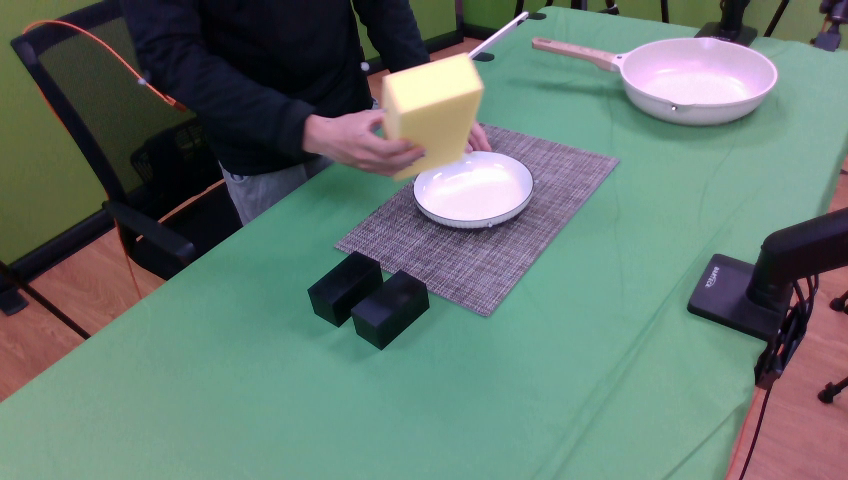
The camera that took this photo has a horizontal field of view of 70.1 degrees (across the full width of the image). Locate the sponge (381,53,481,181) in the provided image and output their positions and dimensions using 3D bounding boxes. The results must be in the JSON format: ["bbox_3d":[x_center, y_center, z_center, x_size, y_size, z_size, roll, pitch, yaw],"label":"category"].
[{"bbox_3d":[0.003,-0.169,0.876,0.118,0.207,0.060,-19,74,-12],"label":"sponge"}]

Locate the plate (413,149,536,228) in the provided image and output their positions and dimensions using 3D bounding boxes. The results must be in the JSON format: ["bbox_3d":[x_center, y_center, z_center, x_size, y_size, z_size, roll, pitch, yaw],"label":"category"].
[{"bbox_3d":[0.086,-0.085,1.038,0.207,0.039,0.206,-4,40,4],"label":"plate"}]

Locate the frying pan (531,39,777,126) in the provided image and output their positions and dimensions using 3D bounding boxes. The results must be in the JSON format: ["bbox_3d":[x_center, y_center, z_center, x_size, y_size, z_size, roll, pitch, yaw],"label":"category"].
[{"bbox_3d":[0.452,-0.354,1.254,0.485,0.103,0.307,22,47,19],"label":"frying pan"}]
